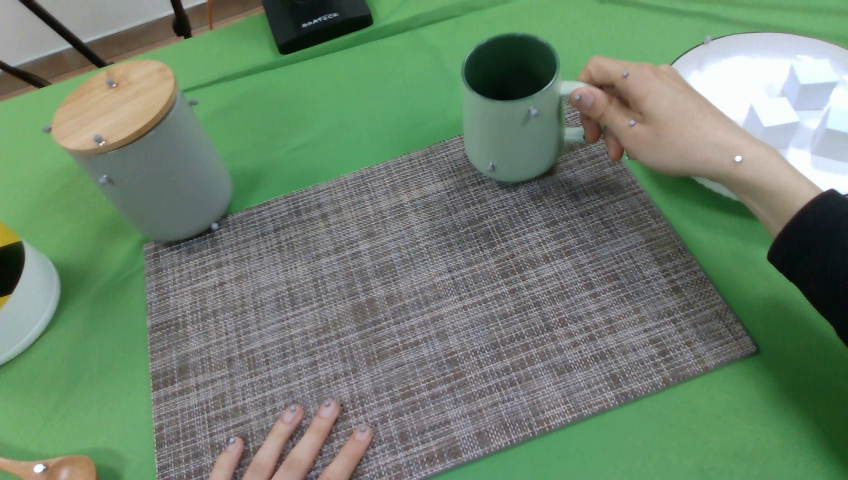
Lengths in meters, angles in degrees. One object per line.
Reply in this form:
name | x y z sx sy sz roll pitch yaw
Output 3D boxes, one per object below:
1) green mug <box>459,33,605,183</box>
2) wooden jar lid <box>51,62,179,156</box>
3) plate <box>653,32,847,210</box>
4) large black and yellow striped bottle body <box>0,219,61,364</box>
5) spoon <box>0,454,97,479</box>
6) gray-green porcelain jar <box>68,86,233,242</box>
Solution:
green mug | 0.090 -0.109 0.519 0.125 0.106 0.092 8 61 14
wooden jar lid | -0.253 -0.107 0.505 0.108 0.021 0.107 -7 54 10
plate | 0.312 -0.106 0.541 0.207 0.039 0.205 -5 55 7
large black and yellow striped bottle body | -0.412 0.017 0.491 0.130 0.186 0.129 -4 56 7
spoon | -0.330 0.172 0.470 0.193 0.022 0.041 8 76 14
gray-green porcelain jar | -0.243 -0.068 0.554 0.106 0.128 0.105 -5 51 7
